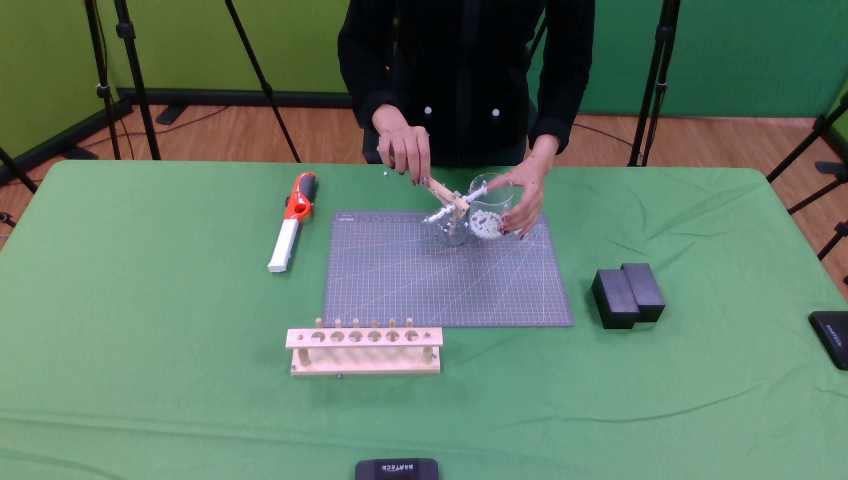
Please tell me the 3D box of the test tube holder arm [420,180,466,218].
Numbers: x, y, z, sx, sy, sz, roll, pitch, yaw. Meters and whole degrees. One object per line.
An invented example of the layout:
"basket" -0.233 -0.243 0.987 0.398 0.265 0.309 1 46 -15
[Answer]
"test tube holder arm" 0.029 -0.068 0.946 0.087 0.010 0.015 44 49 7

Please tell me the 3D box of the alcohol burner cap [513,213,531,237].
"alcohol burner cap" 0.200 -0.034 1.227 0.034 0.048 0.033 1 46 -1

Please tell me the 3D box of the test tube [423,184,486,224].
"test tube" 0.049 -0.056 0.939 0.017 0.017 0.150 33 42 26

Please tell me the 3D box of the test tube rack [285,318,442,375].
"test tube rack" -0.095 0.168 0.986 0.242 0.085 0.066 0 46 -4

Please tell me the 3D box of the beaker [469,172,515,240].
"beaker" 0.112 -0.054 1.041 0.084 0.101 0.073 -25 54 -18

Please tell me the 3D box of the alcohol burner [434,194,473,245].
"alcohol burner" 0.059 -0.046 1.179 0.078 0.120 0.077 1 48 -1

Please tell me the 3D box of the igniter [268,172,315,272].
"igniter" -0.263 -0.045 1.219 0.057 0.025 0.275 -2 45 8

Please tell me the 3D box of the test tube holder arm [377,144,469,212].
"test tube holder arm" -0.003 -0.099 0.951 0.178 0.013 0.015 38 47 14
